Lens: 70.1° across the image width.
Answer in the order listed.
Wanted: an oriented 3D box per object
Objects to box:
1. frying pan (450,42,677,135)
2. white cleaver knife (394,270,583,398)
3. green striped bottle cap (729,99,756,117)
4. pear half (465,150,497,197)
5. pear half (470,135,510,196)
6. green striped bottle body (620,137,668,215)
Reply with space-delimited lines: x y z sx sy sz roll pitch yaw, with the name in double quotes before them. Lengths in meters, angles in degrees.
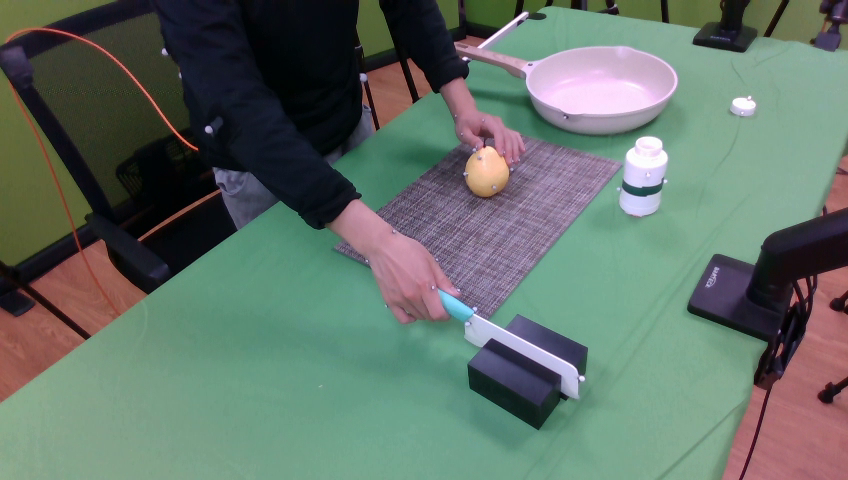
"frying pan" 0.268 -0.344 1.267 0.485 0.103 0.307 26 49 21
"white cleaver knife" 0.070 0.116 0.762 0.284 0.066 0.021 28 48 31
"green striped bottle cap" 0.623 -0.259 1.182 0.044 0.020 0.044 -3 40 3
"pear half" 0.091 -0.110 1.025 0.070 0.088 0.031 31 53 30
"pear half" 0.115 -0.135 1.035 0.076 0.110 0.056 30 51 30
"green striped bottle body" 0.350 -0.103 0.963 0.063 0.120 0.063 -4 41 4
